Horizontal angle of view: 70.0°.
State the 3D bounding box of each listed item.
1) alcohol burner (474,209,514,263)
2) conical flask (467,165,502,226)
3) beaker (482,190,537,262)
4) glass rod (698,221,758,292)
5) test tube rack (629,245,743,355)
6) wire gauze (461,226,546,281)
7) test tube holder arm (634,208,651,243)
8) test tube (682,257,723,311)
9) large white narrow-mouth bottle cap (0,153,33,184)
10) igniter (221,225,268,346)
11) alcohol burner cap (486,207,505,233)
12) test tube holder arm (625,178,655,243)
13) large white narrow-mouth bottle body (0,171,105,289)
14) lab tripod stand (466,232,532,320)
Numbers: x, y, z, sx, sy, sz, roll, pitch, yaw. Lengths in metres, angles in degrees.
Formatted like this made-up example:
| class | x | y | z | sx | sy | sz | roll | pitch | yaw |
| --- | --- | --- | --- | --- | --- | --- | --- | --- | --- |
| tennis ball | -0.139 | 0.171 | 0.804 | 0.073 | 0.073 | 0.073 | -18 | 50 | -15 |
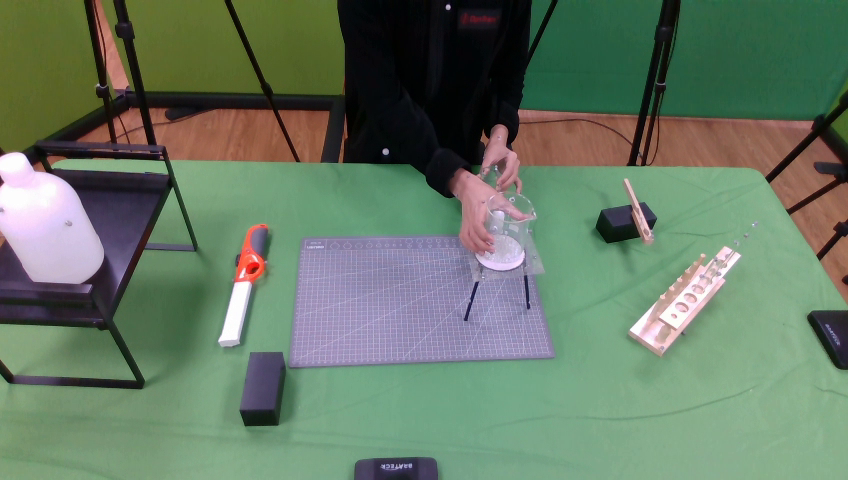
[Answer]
| class | x | y | z | sx | sy | sz | roll | pitch | yaw |
| --- | --- | --- | --- | --- | --- | --- | --- | --- | --- |
| alcohol burner | 0.134 | -0.013 | 1.150 | 0.078 | 0.120 | 0.077 | 0 | 47 | 0 |
| conical flask | 0.128 | -0.093 | 1.224 | 0.075 | 0.122 | 0.075 | 2 | 46 | -2 |
| beaker | 0.136 | -0.019 | 0.983 | 0.084 | 0.101 | 0.073 | 18 | 48 | 14 |
| glass rod | 0.527 | 0.035 | 1.059 | 0.008 | 0.200 | 0.008 | 5 | 49 | -6 |
| test tube rack | 0.474 | 0.095 | 1.091 | 0.242 | 0.085 | 0.066 | -34 | 56 | -31 |
| wire gauze | 0.131 | 0.017 | 1.016 | 0.121 | 0.011 | 0.124 | -3 | 42 | -9 |
| test tube holder arm | 0.428 | -0.030 | 1.189 | 0.010 | 0.015 | 0.087 | 1 | 47 | -2 |
| test tube | 0.475 | 0.080 | 1.038 | 0.017 | 0.151 | 0.017 | 1 | 50 | -1 |
| large white narrow-mouth bottle cap | -0.510 | -0.089 | 0.754 | 0.038 | 0.024 | 0.037 | 2 | 46 | -2 |
| igniter | -0.323 | 0.072 | 1.100 | 0.057 | 0.025 | 0.274 | -6 | 45 | 5 |
| alcohol burner cap | 0.135 | -0.039 | 1.125 | 0.034 | 0.048 | 0.033 | 5 | 41 | -4 |
| test tube holder arm | 0.433 | -0.062 | 1.220 | 0.013 | 0.015 | 0.177 | 1 | 47 | -3 |
| large white narrow-mouth bottle body | -0.513 | -0.029 | 0.818 | 0.102 | 0.195 | 0.101 | 2 | 46 | -2 |
| lab tripod stand | 0.125 | 0.059 | 1.065 | 0.148 | 0.132 | 0.147 | 1 | 45 | 0 |
